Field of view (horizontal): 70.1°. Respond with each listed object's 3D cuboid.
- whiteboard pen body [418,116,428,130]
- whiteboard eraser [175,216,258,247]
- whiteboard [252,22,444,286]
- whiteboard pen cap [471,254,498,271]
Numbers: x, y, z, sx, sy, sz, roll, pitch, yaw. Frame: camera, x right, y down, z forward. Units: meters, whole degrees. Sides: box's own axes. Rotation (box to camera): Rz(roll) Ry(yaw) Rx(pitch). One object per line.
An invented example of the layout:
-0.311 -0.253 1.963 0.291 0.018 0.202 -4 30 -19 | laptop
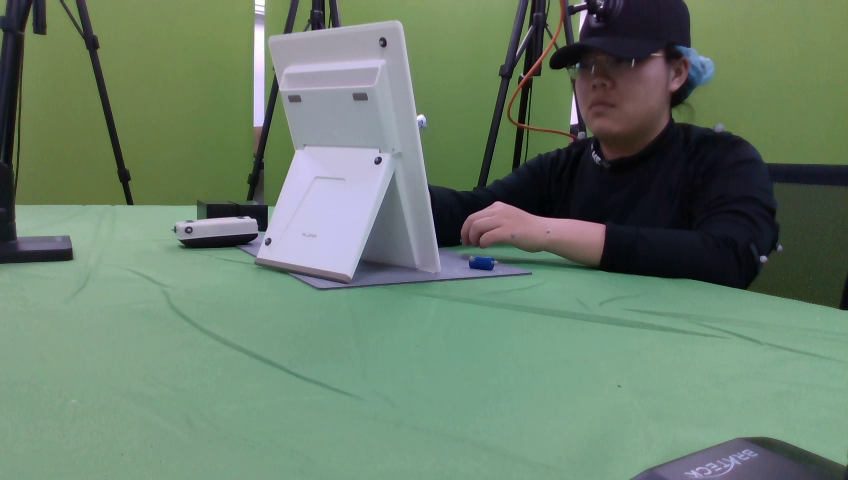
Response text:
-0.028 -0.140 0.805 0.017 0.017 0.141 6 28 23 | whiteboard pen body
-0.314 -0.012 0.914 0.113 0.042 0.055 -5 12 -30 | whiteboard eraser
-0.125 -0.081 0.714 0.216 0.305 0.144 9 29 36 | whiteboard
0.080 0.031 0.799 0.033 0.018 0.018 19 2 -17 | whiteboard pen cap
